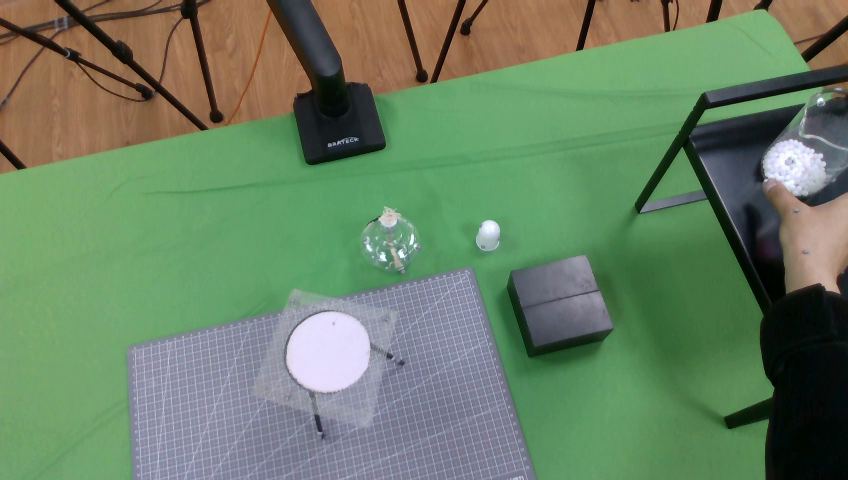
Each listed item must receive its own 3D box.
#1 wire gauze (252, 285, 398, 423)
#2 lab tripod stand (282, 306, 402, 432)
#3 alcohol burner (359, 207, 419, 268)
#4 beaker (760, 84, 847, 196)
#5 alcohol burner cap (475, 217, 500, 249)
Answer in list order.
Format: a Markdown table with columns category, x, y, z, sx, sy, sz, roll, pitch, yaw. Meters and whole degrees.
| category | x | y | z | sx | sy | sz | roll | pitch | yaw |
| --- | --- | --- | --- | --- | --- | --- | --- | --- | --- |
| wire gauze | -0.099 | 0.113 | 0.624 | 0.125 | 0.011 | 0.120 | 14 | 66 | 5 |
| lab tripod stand | -0.099 | 0.135 | 0.688 | 0.148 | 0.132 | 0.147 | 0 | 63 | 0 |
| alcohol burner | -0.045 | -0.010 | 0.768 | 0.078 | 0.120 | 0.077 | 1 | 65 | -1 |
| beaker | 0.397 | -0.096 | 0.618 | 0.084 | 0.101 | 0.073 | -17 | 66 | -7 |
| alcohol burner cap | 0.086 | -0.012 | 0.809 | 0.034 | 0.048 | 0.033 | 0 | 65 | 1 |
